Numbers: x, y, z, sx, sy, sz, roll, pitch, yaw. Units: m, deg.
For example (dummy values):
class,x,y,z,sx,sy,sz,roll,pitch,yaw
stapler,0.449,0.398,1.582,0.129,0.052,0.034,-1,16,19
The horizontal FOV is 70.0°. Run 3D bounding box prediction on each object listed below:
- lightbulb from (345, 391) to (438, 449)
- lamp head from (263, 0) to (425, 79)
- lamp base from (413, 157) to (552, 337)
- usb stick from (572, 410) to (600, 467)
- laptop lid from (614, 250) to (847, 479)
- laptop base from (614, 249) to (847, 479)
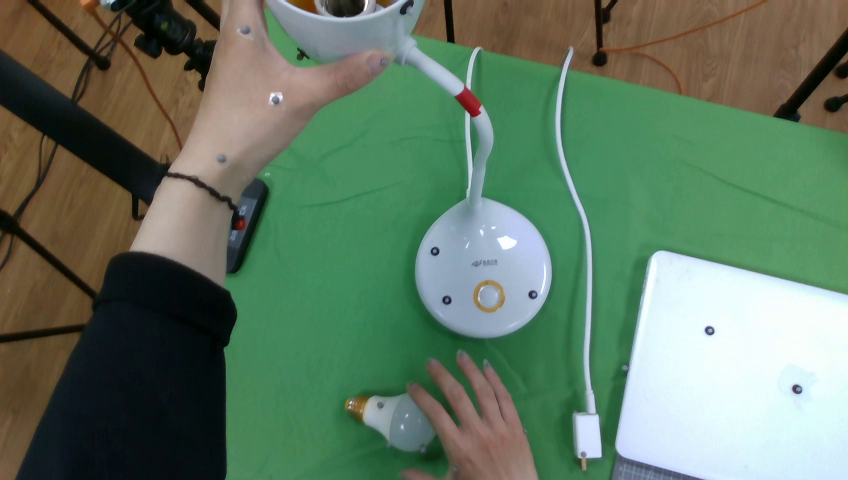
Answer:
class,x,y,z,sx,sy,sz,roll,pitch,yaw
lightbulb,-0.037,0.189,0.658,0.107,0.060,0.059,9,75,21
lamp head,-0.047,-0.159,0.398,0.112,0.123,0.112,0,75,1
lamp base,0.060,0.001,0.636,0.161,0.181,0.178,-16,72,-2
usb stick,0.175,0.215,0.654,0.027,0.021,0.059,0,85,1
laptop lid,0.400,0.159,0.652,0.356,0.013,0.241,15,78,6
laptop base,0.401,0.160,0.664,0.354,0.023,0.234,14,79,6
